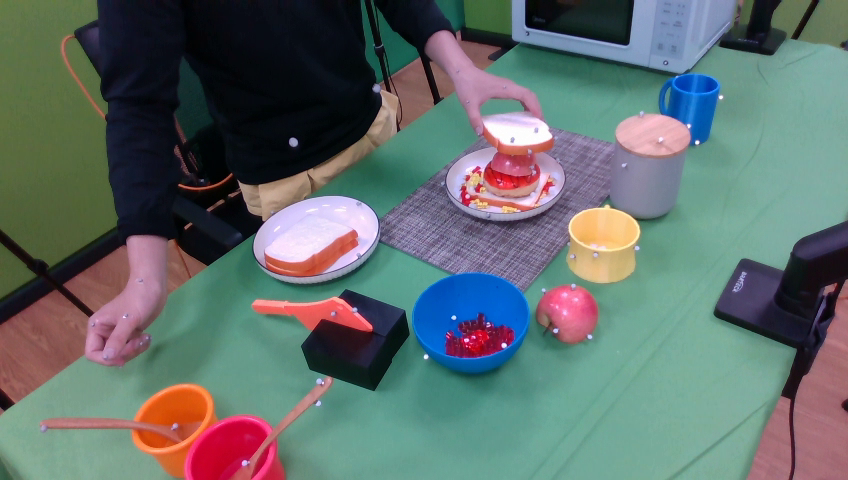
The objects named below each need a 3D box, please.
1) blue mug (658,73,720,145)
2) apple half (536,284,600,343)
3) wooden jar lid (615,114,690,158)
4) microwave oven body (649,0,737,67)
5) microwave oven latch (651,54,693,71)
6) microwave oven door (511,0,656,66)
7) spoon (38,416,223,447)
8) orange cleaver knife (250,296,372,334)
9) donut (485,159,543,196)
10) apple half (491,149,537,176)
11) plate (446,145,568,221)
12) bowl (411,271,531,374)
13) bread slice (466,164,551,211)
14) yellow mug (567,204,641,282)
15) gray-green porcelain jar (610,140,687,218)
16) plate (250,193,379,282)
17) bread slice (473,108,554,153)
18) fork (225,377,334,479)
[{"bbox_3d":[0.483,-0.250,1.127,0.082,0.106,0.115,-26,44,-19],"label":"blue mug"},{"bbox_3d":[0.196,0.091,0.815,0.075,0.053,0.080,-22,42,-20],"label":"apple half"},{"bbox_3d":[0.347,-0.155,0.923,0.108,0.021,0.108,-3,44,4],"label":"wooden jar lid"},{"bbox_3d":[0.475,-0.602,1.411,0.438,0.261,0.327,23,50,32],"label":"microwave oven body"},{"bbox_3d":[0.531,-0.386,1.301,0.078,0.029,0.030,26,51,33],"label":"microwave oven latch"},{"bbox_3d":[0.350,-0.539,1.348,0.353,0.245,0.039,24,50,31],"label":"microwave oven door"},{"bbox_3d":[-0.320,0.209,0.677,0.021,0.195,0.041,-53,41,16],"label":"spoon"},{"bbox_3d":[-0.158,0.103,0.828,0.210,0.078,0.012,-4,43,39],"label":"orange cleaver knife"},{"bbox_3d":[0.151,-0.112,1.019,0.099,0.048,0.098,-4,40,4],"label":"donut"},{"bbox_3d":[0.149,-0.139,0.996,0.081,0.033,0.081,1,37,0],"label":"apple half"},{"bbox_3d":[0.142,-0.097,1.045,0.207,0.039,0.206,-4,40,4],"label":"plate"},{"bbox_3d":[0.062,0.119,0.780,0.151,0.077,0.150,-4,40,4],"label":"bowl"},{"bbox_3d":[0.141,-0.092,1.043,0.133,0.018,0.107,10,44,19],"label":"bread slice"},{"bbox_3d":[0.268,-0.005,0.905,0.099,0.064,0.130,7,42,15],"label":"yellow mug"},{"bbox_3d":[0.354,-0.106,0.964,0.106,0.127,0.105,-4,41,4],"label":"gray-green porcelain jar"},{"bbox_3d":[-0.174,-0.001,0.984,0.209,0.038,0.208,-4,40,4],"label":"plate"},{"bbox_3d":[0.148,-0.176,0.961,0.105,0.019,0.130,-10,37,-13],"label":"bread slice"},{"bbox_3d":[-0.163,0.216,0.646,0.207,0.019,0.028,-49,42,16],"label":"fork"}]
